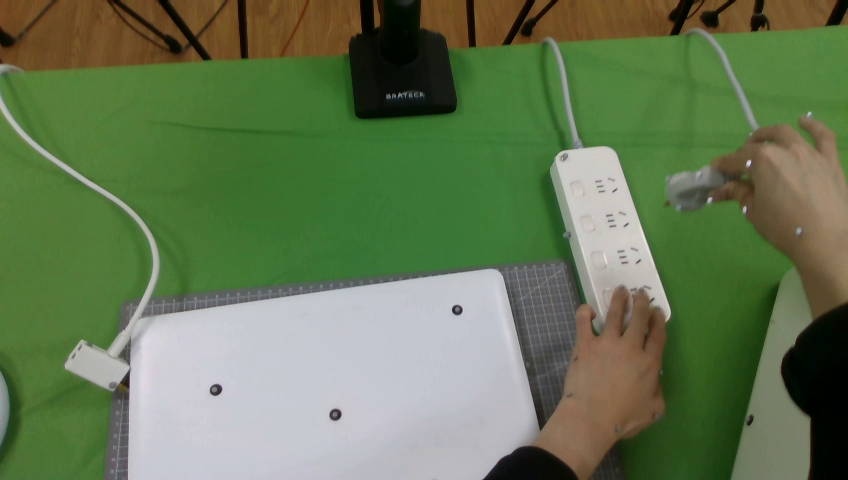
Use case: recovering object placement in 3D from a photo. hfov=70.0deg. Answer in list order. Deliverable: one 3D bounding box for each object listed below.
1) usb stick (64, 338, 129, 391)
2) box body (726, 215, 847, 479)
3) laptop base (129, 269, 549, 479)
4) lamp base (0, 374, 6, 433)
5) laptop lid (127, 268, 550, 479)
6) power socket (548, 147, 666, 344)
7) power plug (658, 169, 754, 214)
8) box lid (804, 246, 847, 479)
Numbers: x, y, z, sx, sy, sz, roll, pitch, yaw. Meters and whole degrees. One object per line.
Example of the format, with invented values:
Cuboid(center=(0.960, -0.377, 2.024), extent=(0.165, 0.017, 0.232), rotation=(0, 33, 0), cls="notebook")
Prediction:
Cuboid(center=(-0.282, 0.112, 0.534), extent=(0.021, 0.060, 0.027), rotation=(13, 64, 54), cls="usb stick")
Cuboid(center=(0.409, 0.177, 0.489), extent=(0.253, 0.161, 0.362), rotation=(25, 64, 8), cls="box body")
Cuboid(center=(-0.079, 0.156, 0.546), extent=(0.355, 0.023, 0.233), rotation=(-8, 68, -8), cls="laptop base")
Cuboid(center=(-0.452, 0.120, 0.449), extent=(0.179, 0.181, 0.159), rotation=(19, 63, 9), cls="lamp base")
Cuboid(center=(-0.078, 0.153, 0.535), extent=(0.357, 0.013, 0.239), rotation=(-6, 66, -7), cls="laptop lid")
Cuboid(center=(0.188, -0.003, 0.637), extent=(0.072, 0.033, 0.224), rotation=(-6, 64, -8), cls="power socket")
Cuboid(center=(0.244, -0.038, 0.530), extent=(0.072, 0.053, 0.035), rotation=(6, 67, -3), cls="power plug")
Cuboid(center=(0.414, 0.141, 0.423), extent=(0.262, 0.015, 0.370), rotation=(25, 65, 9), cls="box lid")
